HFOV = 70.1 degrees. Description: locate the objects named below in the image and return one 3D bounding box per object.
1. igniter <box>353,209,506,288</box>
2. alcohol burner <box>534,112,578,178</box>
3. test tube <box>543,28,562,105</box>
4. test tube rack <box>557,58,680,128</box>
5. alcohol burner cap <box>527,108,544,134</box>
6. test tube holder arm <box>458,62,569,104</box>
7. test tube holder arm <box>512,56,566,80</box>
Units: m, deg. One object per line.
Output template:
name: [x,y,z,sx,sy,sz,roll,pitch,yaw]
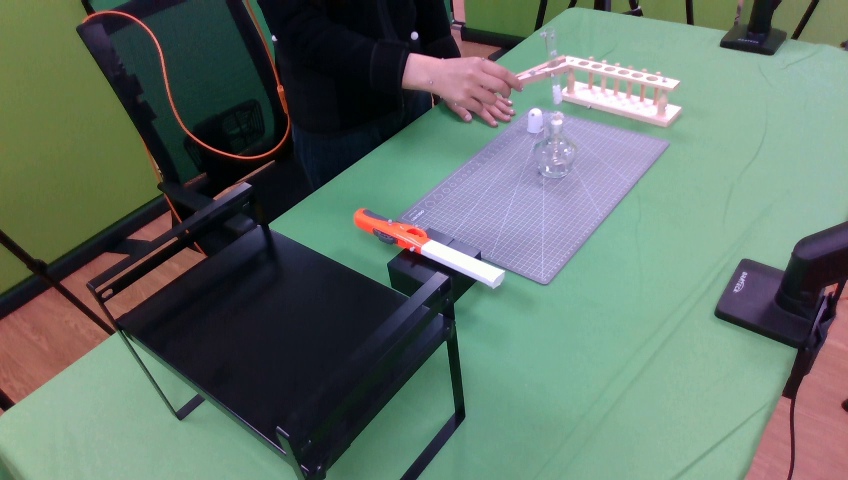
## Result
igniter: [-0.003,0.006,0.892,0.274,0.025,0.057,24,37,31]
alcohol burner: [0.232,-0.170,1.066,0.078,0.119,0.077,-5,39,5]
test tube: [0.205,-0.270,0.955,0.017,0.151,0.017,-9,55,13]
test tube rack: [0.395,-0.309,1.230,0.240,0.085,0.067,25,50,33]
alcohol burner cap: [0.222,-0.238,1.203,0.034,0.048,0.033,-6,41,5]
test tube holder arm: [0.140,-0.249,0.960,0.178,0.015,0.013,-16,53,8]
test tube holder arm: [0.182,-0.267,0.958,0.088,0.015,0.010,-22,53,4]
